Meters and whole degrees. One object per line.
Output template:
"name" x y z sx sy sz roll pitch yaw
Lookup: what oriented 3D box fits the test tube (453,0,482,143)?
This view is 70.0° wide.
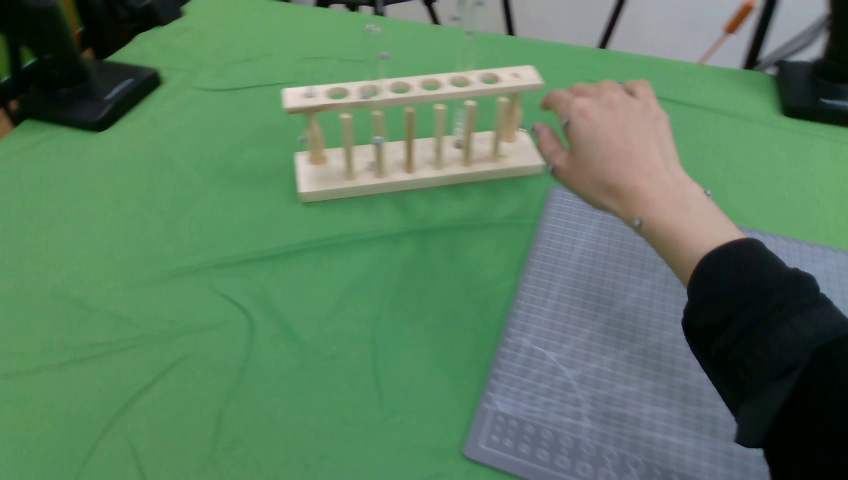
"test tube" 0.040 -0.156 0.571 0.017 0.151 0.017 2 44 -1

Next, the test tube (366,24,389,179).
"test tube" -0.040 -0.117 0.537 0.017 0.152 0.017 1 44 -1

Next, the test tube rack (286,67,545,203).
"test tube rack" -0.004 -0.103 0.587 0.243 0.086 0.066 -8 45 -9
